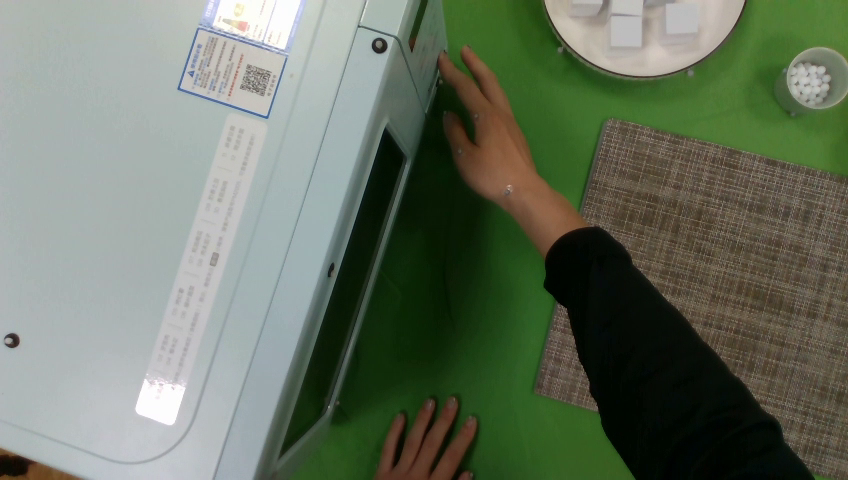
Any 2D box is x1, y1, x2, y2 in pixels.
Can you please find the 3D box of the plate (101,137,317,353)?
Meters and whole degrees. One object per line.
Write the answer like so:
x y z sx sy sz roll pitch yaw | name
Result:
-0.205 0.005 0.592 0.209 0.038 0.209 0 90 4 | plate

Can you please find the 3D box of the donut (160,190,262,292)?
-0.203 0.002 0.577 0.099 0.048 0.099 0 91 6 | donut

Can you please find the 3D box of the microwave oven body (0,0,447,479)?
-0.202 -0.056 0.540 0.326 0.260 0.441 18 91 4 | microwave oven body

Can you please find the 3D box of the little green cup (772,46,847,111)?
0.386 -0.160 0.610 0.061 0.038 0.061 0 89 5 | little green cup

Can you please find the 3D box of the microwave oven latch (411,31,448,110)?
0.001 -0.177 0.622 0.030 0.029 0.079 21 92 4 | microwave oven latch

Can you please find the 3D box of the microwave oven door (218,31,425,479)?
-0.078 0.030 0.524 0.039 0.244 0.355 18 91 5 | microwave oven door

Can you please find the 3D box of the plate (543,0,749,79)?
0.224 -0.266 0.623 0.207 0.039 0.207 0 89 4 | plate
